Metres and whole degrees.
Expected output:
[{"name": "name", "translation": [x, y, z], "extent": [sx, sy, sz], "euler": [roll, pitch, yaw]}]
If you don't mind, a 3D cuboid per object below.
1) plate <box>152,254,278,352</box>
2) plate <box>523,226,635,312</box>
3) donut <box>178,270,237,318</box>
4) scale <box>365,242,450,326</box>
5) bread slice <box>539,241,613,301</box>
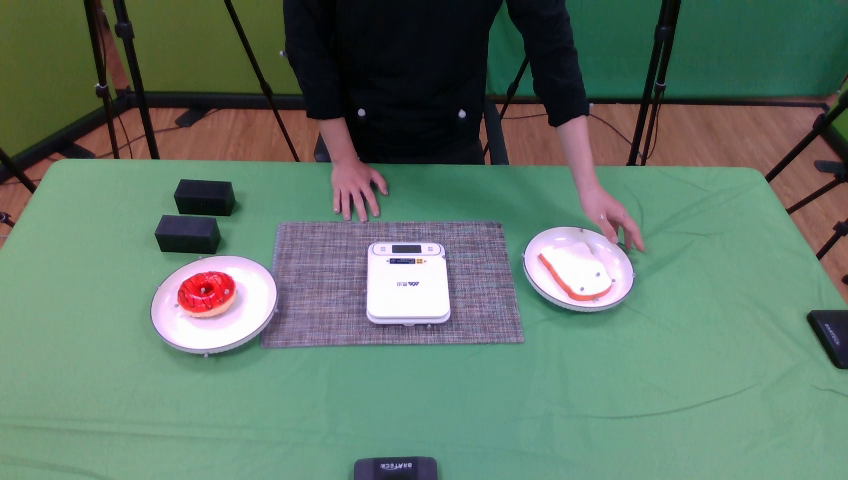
[{"name": "plate", "translation": [-0.357, 0.111, 1.052], "extent": [0.208, 0.039, 0.206], "euler": [2, 46, -2]}, {"name": "plate", "translation": [0.291, 0.058, 1.151], "extent": [0.209, 0.038, 0.208], "euler": [2, 45, -2]}, {"name": "donut", "translation": [-0.375, 0.092, 1.053], "extent": [0.099, 0.048, 0.098], "euler": [1, 42, 0]}, {"name": "scale", "translation": [-0.032, 0.071, 1.113], "extent": [0.149, 0.032, 0.199], "euler": [1, 46, -4]}, {"name": "bread slice", "translation": [0.297, 0.058, 1.153], "extent": [0.105, 0.019, 0.130], "euler": [-15, 50, -18]}]
